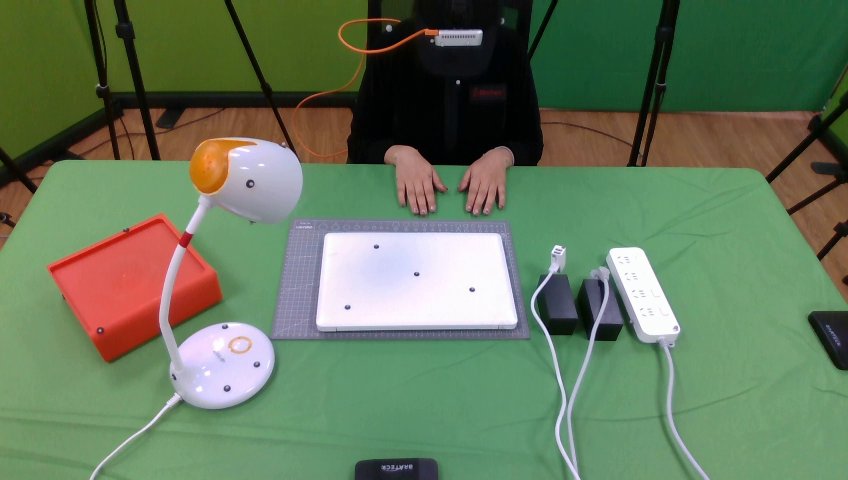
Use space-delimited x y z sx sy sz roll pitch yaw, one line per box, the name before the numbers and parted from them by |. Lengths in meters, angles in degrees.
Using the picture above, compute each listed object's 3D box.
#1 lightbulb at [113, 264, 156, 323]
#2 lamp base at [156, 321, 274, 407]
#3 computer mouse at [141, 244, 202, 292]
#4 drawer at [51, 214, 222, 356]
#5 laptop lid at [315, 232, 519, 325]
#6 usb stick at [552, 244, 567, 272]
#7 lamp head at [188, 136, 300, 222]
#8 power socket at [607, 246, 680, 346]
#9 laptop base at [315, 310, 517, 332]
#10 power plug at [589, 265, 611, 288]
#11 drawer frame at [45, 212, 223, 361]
lightbulb | -0.494 0.091 1.045 0.059 0.060 0.107 9 62 5
lamp base | -0.328 0.151 0.916 0.160 0.181 0.179 29 53 22
computer mouse | -0.460 0.044 1.099 0.116 0.041 0.063 29 52 29
drawer | -0.495 0.072 1.053 0.212 0.073 0.193 -32 57 -29
laptop lid | -0.015 0.065 1.118 0.357 0.013 0.240 1 43 -3
usb stick | 0.251 0.039 1.124 0.021 0.059 0.027 14 47 25
lamp head | -0.240 -0.081 0.773 0.112 0.112 0.123 35 15 26
power socket | 0.403 0.096 1.123 0.072 0.033 0.225 -2 46 -5
laptop base | -0.016 0.075 1.125 0.355 0.023 0.234 0 42 -4
power plug | 0.318 0.073 1.108 0.035 0.053 0.072 26 34 13
drawer frame | -0.496 0.073 1.049 0.213 0.083 0.200 -33 56 -29
